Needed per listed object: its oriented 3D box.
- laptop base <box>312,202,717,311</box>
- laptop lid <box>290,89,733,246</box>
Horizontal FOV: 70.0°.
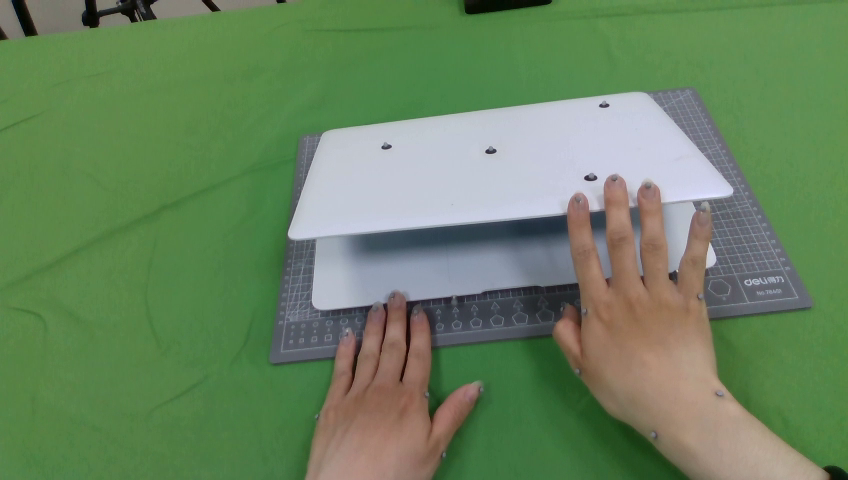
[{"bbox_3d":[0.071,-0.044,0.596,0.354,0.023,0.233,-7,53,3],"label":"laptop base"},{"bbox_3d":[0.064,-0.079,0.563,0.356,0.013,0.239,-5,34,4],"label":"laptop lid"}]
